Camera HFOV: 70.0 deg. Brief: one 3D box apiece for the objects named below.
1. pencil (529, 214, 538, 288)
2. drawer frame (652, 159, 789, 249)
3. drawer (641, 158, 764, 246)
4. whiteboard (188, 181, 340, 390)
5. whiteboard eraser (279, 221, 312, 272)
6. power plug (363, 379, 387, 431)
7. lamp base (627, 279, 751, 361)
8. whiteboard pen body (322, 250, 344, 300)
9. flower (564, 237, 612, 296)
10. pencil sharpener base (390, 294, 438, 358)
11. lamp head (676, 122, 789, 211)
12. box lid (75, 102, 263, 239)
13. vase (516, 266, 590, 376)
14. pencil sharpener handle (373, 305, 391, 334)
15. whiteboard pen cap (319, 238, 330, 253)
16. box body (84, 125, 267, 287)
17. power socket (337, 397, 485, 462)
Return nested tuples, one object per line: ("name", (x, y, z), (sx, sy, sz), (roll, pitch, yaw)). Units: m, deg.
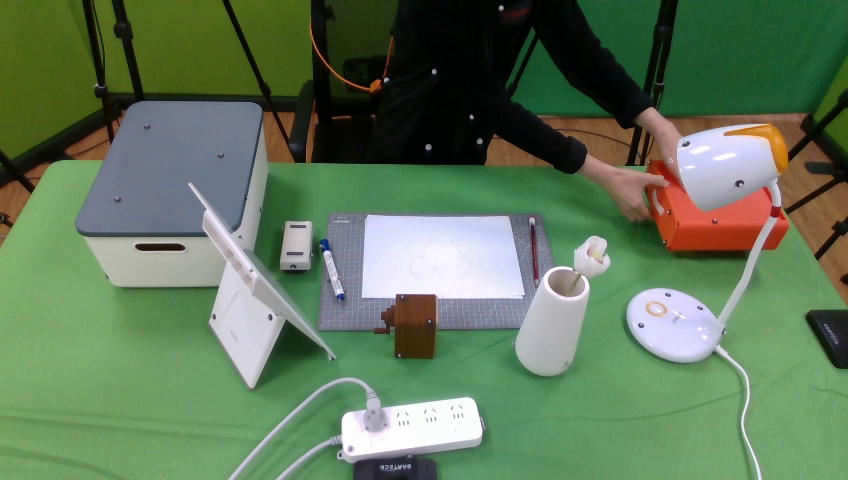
("pencil", (0.219, 0.019, 1.202), (0.012, 0.012, 0.193), (5, 48, 1))
("drawer frame", (0.571, -0.075, 1.214), (0.214, 0.083, 0.200), (0, 45, -1))
("drawer", (0.565, -0.076, 1.212), (0.212, 0.073, 0.193), (2, 45, -2))
("whiteboard", (-0.292, 0.096, 0.929), (0.144, 0.307, 0.216), (-38, 57, -10))
("whiteboard eraser", (-0.244, 0.012, 1.154), (0.055, 0.042, 0.112), (-2, 46, -4))
("power plug", (-0.072, 0.252, 0.910), (0.035, 0.053, 0.072), (3, 44, -1))
("lamp base", (0.459, 0.100, 1.027), (0.178, 0.181, 0.160), (27, 51, 17))
("whiteboard pen body", (-0.173, 0.056, 1.127), (0.017, 0.017, 0.140), (-12, 49, -16))
("flower", (0.206, 0.088, 0.893), (0.038, 0.363, 0.044), (-17, 67, -9))
("pencil sharpener base", (-0.018, 0.143, 1.000), (0.077, 0.107, 0.061), (1, 46, -2))
("lamp head", (0.423, -0.104, 0.819), (0.122, 0.113, 0.112), (-13, 33, 40))
("box lid", (-0.443, -0.138, 1.094), (0.263, 0.015, 0.369), (-1, 47, -5))
("vase", (0.208, 0.132, 0.964), (0.098, 0.201, 0.097), (3, 46, -3))
("pencil sharpener handle", (-0.069, 0.133, 0.989), (0.030, 0.068, 0.036), (1, 47, -2))
("whiteboard pen cap", (-0.190, 0.013, 1.163), (0.018, 0.018, 0.033), (-13, 49, -16))
("box body", (-0.446, -0.088, 1.150), (0.254, 0.161, 0.361), (-1, 46, -5))
("power socket", (-0.018, 0.285, 0.915), (0.227, 0.033, 0.071), (-5, 46, -8))
